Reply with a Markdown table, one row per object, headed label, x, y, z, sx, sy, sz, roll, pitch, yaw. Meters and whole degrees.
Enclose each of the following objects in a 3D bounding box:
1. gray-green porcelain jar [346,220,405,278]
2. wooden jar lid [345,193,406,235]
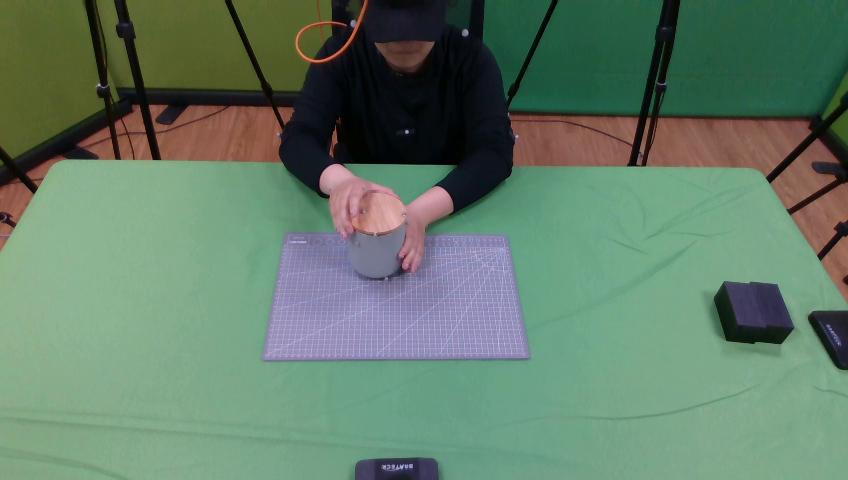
| label | x | y | z | sx | sy | sz | roll | pitch | yaw |
| --- | --- | --- | --- | --- | --- | --- | --- | --- | --- |
| gray-green porcelain jar | -0.089 | 0.000 | 1.116 | 0.106 | 0.127 | 0.105 | 3 | 46 | -2 |
| wooden jar lid | -0.086 | -0.043 | 1.072 | 0.108 | 0.021 | 0.107 | 4 | 44 | -3 |
